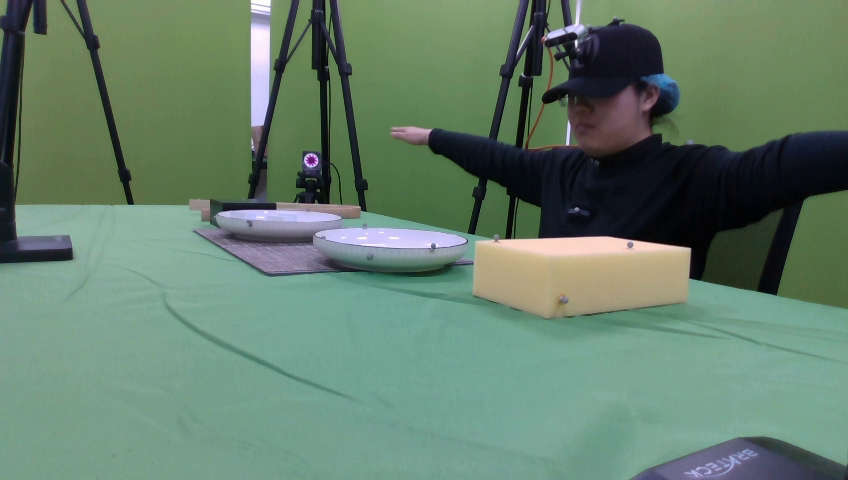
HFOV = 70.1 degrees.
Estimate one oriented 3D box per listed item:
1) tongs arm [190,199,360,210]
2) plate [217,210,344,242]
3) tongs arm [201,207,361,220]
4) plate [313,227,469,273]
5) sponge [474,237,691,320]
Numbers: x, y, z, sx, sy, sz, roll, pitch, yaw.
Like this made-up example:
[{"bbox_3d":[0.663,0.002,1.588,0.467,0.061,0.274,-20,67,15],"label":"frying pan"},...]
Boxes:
[{"bbox_3d":[-0.341,-0.075,1.419,0.387,0.026,0.050,0,8,-25],"label":"tongs arm"},{"bbox_3d":[-0.241,-0.024,1.026,0.208,0.039,0.207,3,7,0],"label":"plate"},{"bbox_3d":[-0.301,-0.060,1.350,0.390,0.028,0.028,-3,7,-38],"label":"tongs arm"},{"bbox_3d":[-0.044,0.012,0.808,0.209,0.038,0.209,2,7,0],"label":"plate"},{"bbox_3d":[0.169,0.034,0.644,0.208,0.061,0.117,-2,7,-33],"label":"sponge"}]
